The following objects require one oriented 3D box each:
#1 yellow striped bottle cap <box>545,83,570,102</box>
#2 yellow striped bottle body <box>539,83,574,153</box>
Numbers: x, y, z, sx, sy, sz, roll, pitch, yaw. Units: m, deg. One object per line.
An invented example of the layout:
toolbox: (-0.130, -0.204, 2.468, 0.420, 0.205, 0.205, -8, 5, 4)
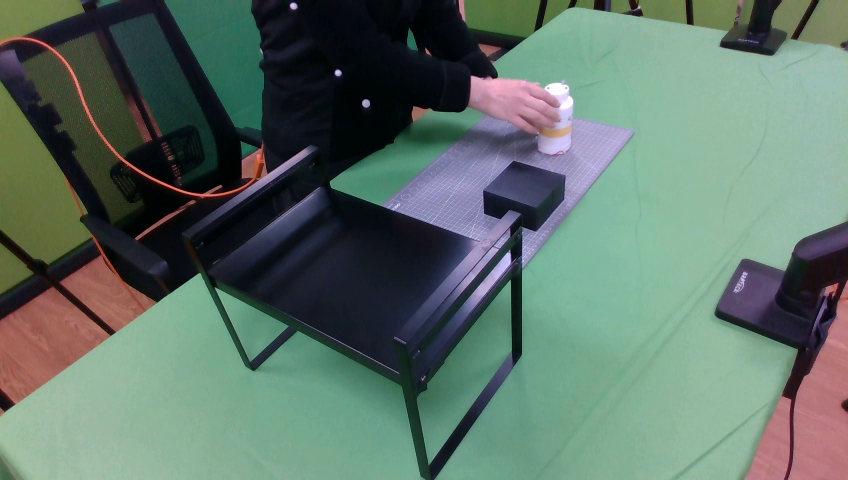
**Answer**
yellow striped bottle cap: (0.241, -0.266, 1.089, 0.044, 0.019, 0.044, -4, 38, 3)
yellow striped bottle body: (0.246, -0.228, 1.123, 0.063, 0.121, 0.062, -4, 42, 4)
